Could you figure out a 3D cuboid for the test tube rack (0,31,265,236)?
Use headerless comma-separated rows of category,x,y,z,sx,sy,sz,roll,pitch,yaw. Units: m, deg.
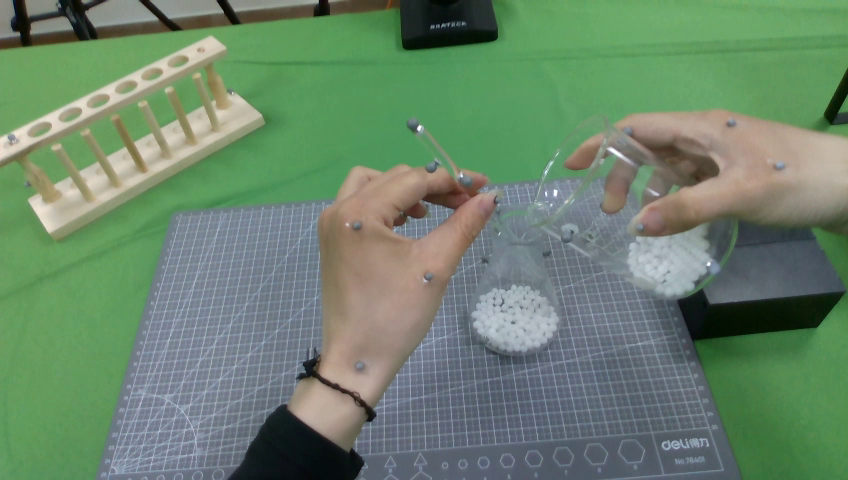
test tube rack,-0.294,-0.114,0.620,0.242,0.086,0.066,-36,56,-21

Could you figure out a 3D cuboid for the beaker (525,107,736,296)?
beaker,0.120,-0.017,0.357,0.100,0.084,0.073,30,66,-11

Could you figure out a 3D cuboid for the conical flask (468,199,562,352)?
conical flask,0.068,0.024,0.447,0.075,0.123,0.074,-3,51,4

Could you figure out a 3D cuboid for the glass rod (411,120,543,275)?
glass rod,0.041,-0.016,0.377,0.008,0.202,0.008,-13,60,24
